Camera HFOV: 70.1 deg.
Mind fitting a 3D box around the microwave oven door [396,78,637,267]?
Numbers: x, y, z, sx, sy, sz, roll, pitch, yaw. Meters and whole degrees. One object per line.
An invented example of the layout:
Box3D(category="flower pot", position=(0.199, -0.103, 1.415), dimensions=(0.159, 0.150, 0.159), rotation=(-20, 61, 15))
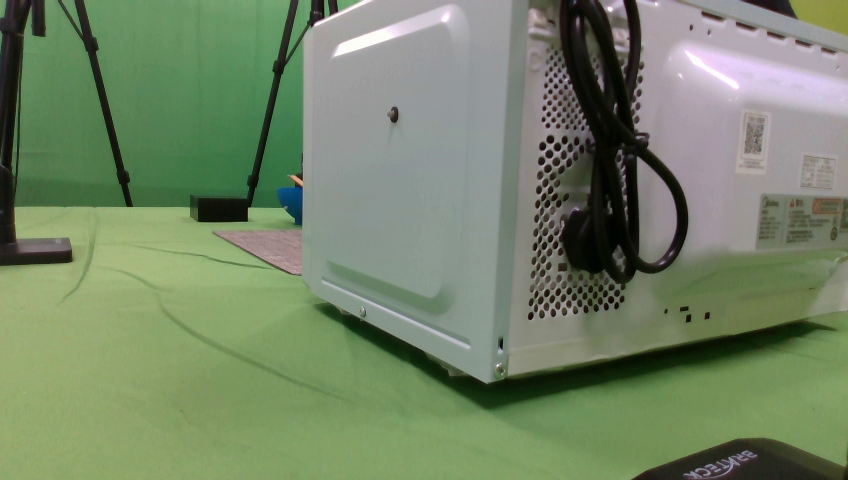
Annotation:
Box3D(category="microwave oven door", position=(0.115, -0.102, 0.872), dimensions=(0.354, 0.243, 0.039), rotation=(7, 9, 34))

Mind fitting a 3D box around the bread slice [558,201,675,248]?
Box3D(category="bread slice", position=(0.187, -0.016, 0.583), dimensions=(0.107, 0.018, 0.134), rotation=(-7, 10, 11))

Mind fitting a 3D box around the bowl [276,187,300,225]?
Box3D(category="bowl", position=(-0.241, -0.073, 1.302), dimensions=(0.151, 0.077, 0.151), rotation=(2, 7, 0))

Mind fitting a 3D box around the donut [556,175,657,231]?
Box3D(category="donut", position=(0.179, -0.035, 0.595), dimensions=(0.099, 0.048, 0.099), rotation=(11, 12, -2))

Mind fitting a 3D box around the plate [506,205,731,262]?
Box3D(category="plate", position=(0.184, -0.008, 0.594), dimensions=(0.208, 0.039, 0.207), rotation=(2, 7, 0))

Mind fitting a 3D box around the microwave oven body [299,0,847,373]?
Box3D(category="microwave oven body", position=(0.152, -0.055, 0.542), dimensions=(0.444, 0.260, 0.324), rotation=(-2, 7, -33))

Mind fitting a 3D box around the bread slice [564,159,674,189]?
Box3D(category="bread slice", position=(0.188, -0.064, 0.581), dimensions=(0.104, 0.019, 0.132), rotation=(8, 7, 15))

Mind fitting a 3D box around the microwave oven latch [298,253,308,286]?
Box3D(category="microwave oven latch", position=(-0.081, 0.027, 0.582), dimensions=(0.079, 0.029, 0.030), rotation=(-1, 7, -32))

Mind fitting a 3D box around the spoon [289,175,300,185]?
Box3D(category="spoon", position=(-0.261, -0.111, 1.343), dimensions=(0.042, 0.021, 0.192), rotation=(-8, 33, -30))
